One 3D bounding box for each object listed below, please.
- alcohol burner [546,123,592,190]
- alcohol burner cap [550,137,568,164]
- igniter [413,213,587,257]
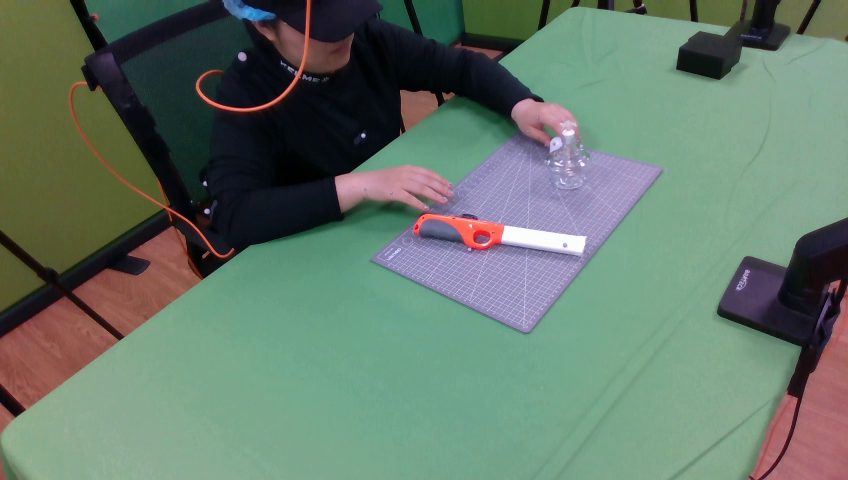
[{"bbox_3d":[0.248,-0.147,1.034,0.078,0.120,0.077,-7,41,6],"label":"alcohol burner"},{"bbox_3d":[0.249,-0.168,1.116,0.034,0.048,0.033,-7,40,6],"label":"alcohol burner cap"},{"bbox_3d":[0.116,-0.009,0.959,0.275,0.025,0.057,8,65,17],"label":"igniter"}]
